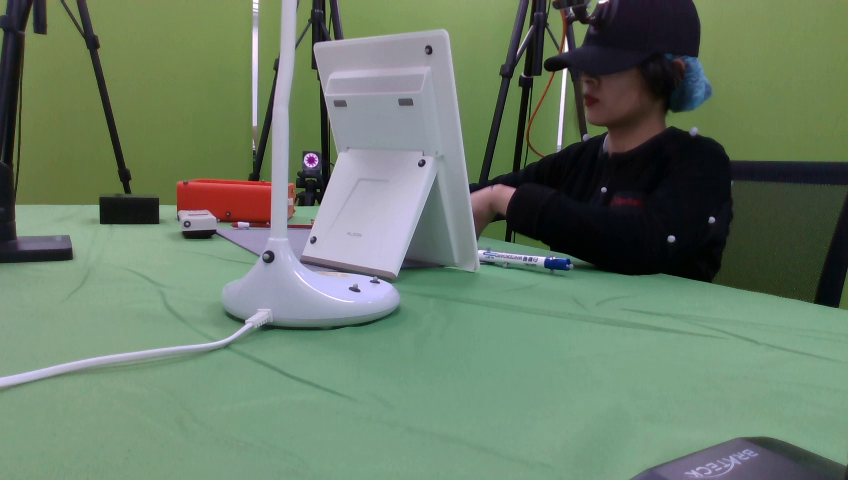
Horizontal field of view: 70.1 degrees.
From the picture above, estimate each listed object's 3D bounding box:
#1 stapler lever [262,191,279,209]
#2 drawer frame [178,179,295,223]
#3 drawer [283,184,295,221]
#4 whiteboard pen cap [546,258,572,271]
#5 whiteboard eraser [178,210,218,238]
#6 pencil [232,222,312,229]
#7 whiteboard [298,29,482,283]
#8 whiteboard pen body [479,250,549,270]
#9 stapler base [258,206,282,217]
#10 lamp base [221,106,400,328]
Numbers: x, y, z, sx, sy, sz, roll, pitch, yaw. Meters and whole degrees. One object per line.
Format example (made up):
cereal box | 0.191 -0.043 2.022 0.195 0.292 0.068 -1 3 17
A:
stapler lever | -0.329 -0.086 1.306 0.027 0.040 0.118 9 3 -9
drawer frame | -0.397 -0.088 1.315 0.214 0.082 0.201 1 8 -7
drawer | -0.394 -0.087 1.317 0.212 0.073 0.194 1 8 -7
whiteboard pen cap | 0.176 0.032 0.790 0.033 0.018 0.018 3 6 37
whiteboard eraser | -0.380 -0.027 1.014 0.056 0.042 0.112 0 8 -25
pencil | -0.261 -0.025 1.141 0.195 0.012 0.012 2 7 -26
whiteboard | -0.075 -0.082 0.741 0.216 0.305 0.144 9 29 37
whiteboard pen body | 0.130 0.028 0.827 0.140 0.017 0.017 7 8 38
stapler base | -0.331 -0.065 1.305 0.041 0.024 0.130 9 -1 -9
lamp base | -0.101 -0.023 0.531 0.160 0.180 0.179 4 10 10
